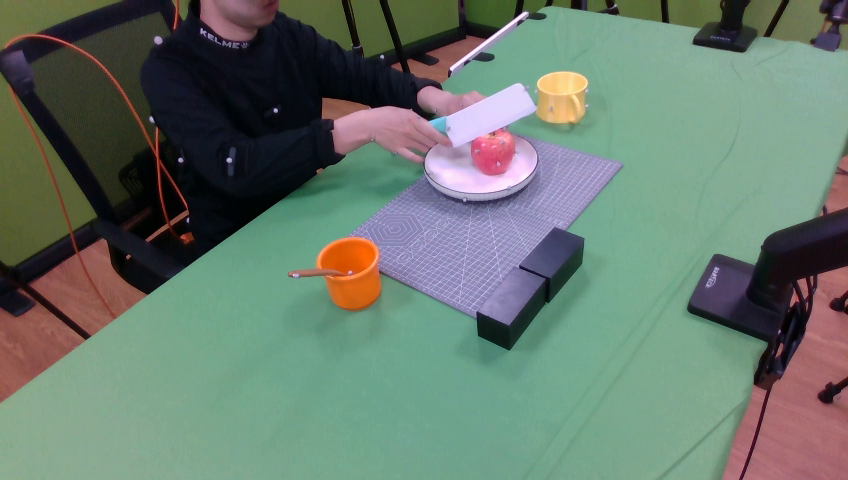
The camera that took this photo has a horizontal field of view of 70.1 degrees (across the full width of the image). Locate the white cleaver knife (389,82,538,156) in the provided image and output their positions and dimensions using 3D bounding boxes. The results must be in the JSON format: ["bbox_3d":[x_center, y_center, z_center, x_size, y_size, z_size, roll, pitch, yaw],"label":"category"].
[{"bbox_3d":[0.059,-0.195,1.056,0.285,0.066,0.021,-17,25,30],"label":"white cleaver knife"}]

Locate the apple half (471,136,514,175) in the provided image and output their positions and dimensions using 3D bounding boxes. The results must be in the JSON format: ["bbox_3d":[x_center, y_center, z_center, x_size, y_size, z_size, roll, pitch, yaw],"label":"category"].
[{"bbox_3d":[0.117,-0.142,1.060,0.081,0.081,0.033,7,38,17],"label":"apple half"}]

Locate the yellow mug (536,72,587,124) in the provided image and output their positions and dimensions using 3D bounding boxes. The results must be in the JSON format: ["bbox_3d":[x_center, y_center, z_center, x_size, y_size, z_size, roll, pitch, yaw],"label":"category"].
[{"bbox_3d":[0.284,-0.281,1.222,0.100,0.064,0.130,-16,42,-9],"label":"yellow mug"}]

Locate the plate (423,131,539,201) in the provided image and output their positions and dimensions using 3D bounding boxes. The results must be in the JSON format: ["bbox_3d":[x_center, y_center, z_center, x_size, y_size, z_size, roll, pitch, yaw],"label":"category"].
[{"bbox_3d":[0.102,-0.132,1.092,0.209,0.038,0.208,-4,40,4],"label":"plate"}]

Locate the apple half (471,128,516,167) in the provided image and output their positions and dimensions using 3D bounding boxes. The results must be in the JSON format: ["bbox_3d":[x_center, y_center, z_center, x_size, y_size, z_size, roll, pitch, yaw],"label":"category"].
[{"bbox_3d":[0.129,-0.166,1.088,0.080,0.075,0.053,4,37,21],"label":"apple half"}]

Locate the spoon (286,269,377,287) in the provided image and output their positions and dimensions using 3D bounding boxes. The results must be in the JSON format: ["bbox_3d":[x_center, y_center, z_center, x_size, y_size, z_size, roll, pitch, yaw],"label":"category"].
[{"bbox_3d":[-0.125,0.049,0.831,0.041,0.195,0.021,22,93,28],"label":"spoon"}]
